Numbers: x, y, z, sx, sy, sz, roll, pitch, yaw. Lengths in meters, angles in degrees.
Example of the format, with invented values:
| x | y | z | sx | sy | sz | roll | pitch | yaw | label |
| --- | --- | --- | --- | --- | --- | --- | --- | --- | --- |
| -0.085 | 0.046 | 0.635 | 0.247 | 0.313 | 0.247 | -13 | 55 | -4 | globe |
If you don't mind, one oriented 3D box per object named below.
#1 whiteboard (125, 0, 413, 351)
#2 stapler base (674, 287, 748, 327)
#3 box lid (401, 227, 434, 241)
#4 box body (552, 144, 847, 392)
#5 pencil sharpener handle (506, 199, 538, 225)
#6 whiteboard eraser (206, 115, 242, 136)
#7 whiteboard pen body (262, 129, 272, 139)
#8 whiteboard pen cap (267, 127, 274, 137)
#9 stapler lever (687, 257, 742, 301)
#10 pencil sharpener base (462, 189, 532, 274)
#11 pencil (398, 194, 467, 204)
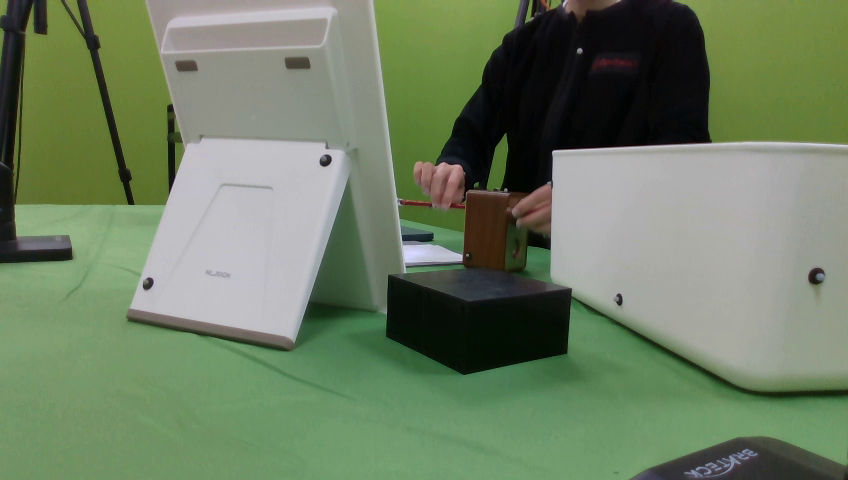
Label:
| x | y | z | sx | sy | sz | roll | pitch | yaw | label |
| --- | --- | --- | --- | --- | --- | --- | --- | --- | --- |
| -0.151 | -0.050 | 0.471 | 0.216 | 0.305 | 0.144 | 6 | 27 | 24 | whiteboard |
| 0.281 | 0.061 | 0.586 | 0.041 | 0.024 | 0.131 | 11 | 9 | 37 | stapler base |
| -0.196 | -0.015 | 1.105 | 0.373 | 0.015 | 0.262 | -1 | 7 | -32 | box lid |
| 0.290 | 0.002 | 0.549 | 0.255 | 0.160 | 0.363 | 2 | 7 | -10 | box body |
| 0.132 | -0.034 | 0.769 | 0.030 | 0.036 | 0.068 | 9 | 5 | 39 | pencil sharpener handle |
| -0.438 | -0.249 | 1.320 | 0.056 | 0.042 | 0.112 | -3 | 9 | -30 | whiteboard eraser |
| -0.361 | -0.245 | 1.393 | 0.017 | 0.017 | 0.140 | 0 | 5 | -20 | whiteboard pen body |
| -0.340 | -0.239 | 1.338 | 0.018 | 0.018 | 0.033 | 1 | -1 | -15 | whiteboard pen cap |
| 0.283 | 0.035 | 0.585 | 0.026 | 0.040 | 0.119 | 11 | 8 | 37 | stapler lever |
| 0.101 | -0.012 | 0.816 | 0.076 | 0.107 | 0.061 | 9 | 9 | 38 | pencil sharpener base |
| 0.020 | -0.061 | 0.886 | 0.193 | 0.012 | 0.012 | -1 | 4 | 37 | pencil |
